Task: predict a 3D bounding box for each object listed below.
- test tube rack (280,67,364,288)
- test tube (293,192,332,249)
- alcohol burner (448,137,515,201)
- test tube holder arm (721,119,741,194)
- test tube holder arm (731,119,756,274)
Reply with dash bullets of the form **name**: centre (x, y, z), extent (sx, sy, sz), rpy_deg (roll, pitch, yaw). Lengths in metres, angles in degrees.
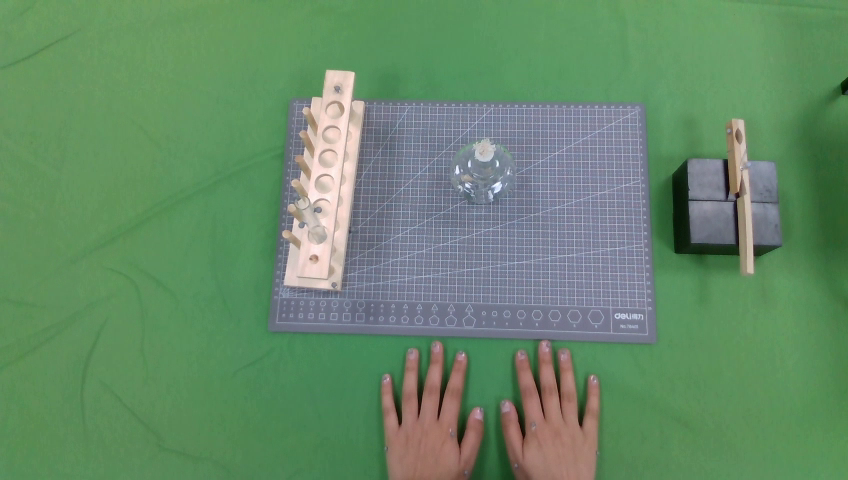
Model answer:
- **test tube rack**: centre (-0.123, -0.072, 0.706), extent (0.067, 0.085, 0.241), rpy_deg (5, 77, 3)
- **test tube**: centre (-0.116, -0.015, 0.642), extent (0.017, 0.151, 0.017), rpy_deg (0, 72, 1)
- **alcohol burner**: centre (0.066, -0.087, 0.690), extent (0.078, 0.119, 0.077), rpy_deg (-1, 78, 3)
- **test tube holder arm**: centre (0.348, -0.095, 0.685), extent (0.010, 0.015, 0.087), rpy_deg (1, 77, -3)
- **test tube holder arm**: centre (0.354, -0.051, 0.675), extent (0.013, 0.015, 0.177), rpy_deg (0, 77, -3)
